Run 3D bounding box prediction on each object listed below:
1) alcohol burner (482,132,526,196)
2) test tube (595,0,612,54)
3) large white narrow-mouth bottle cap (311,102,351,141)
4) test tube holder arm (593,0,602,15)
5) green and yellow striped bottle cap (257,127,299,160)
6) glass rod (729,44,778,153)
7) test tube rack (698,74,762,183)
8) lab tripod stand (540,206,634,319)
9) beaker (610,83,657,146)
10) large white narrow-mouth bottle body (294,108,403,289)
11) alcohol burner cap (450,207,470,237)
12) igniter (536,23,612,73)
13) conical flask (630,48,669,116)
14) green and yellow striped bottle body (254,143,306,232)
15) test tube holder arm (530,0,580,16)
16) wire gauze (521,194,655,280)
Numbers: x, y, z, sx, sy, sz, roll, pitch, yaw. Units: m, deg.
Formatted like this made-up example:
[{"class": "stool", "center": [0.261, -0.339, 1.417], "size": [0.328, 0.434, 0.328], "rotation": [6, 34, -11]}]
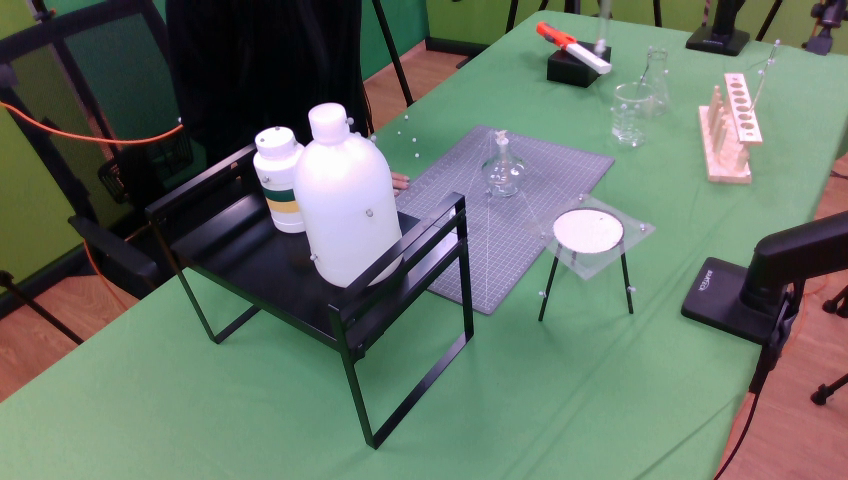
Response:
[{"class": "alcohol burner", "center": [0.137, -0.136, 1.042], "size": [0.078, 0.119, 0.077], "rotation": [-4, 43, 4]}, {"class": "test tube", "center": [0.284, -0.367, 0.939], "size": [0.017, 0.150, 0.017], "rotation": [2, 22, 0]}, {"class": "large white narrow-mouth bottle cap", "center": [-0.089, -0.113, 0.579], "size": [0.038, 0.024, 0.037], "rotation": [-3, 39, 3]}, {"class": "test tube holder arm", "center": [0.285, -0.396, 0.951], "size": [0.010, 0.088, 0.015], "rotation": [35, 47, 12]}, {"class": "green and yellow striped bottle cap", "center": [-0.169, -0.112, 0.699], "size": [0.045, 0.020, 0.045], "rotation": [-5, 40, 5]}, {"class": "glass rod", "center": [0.554, -0.233, 1.020], "size": [0.008, 0.200, 0.008], "rotation": [2, 39, -1]}, {"class": "test tube rack", "center": [0.547, -0.208, 1.095], "size": [0.066, 0.085, 0.242], "rotation": [5, 42, 15]}, {"class": "lab tripod stand", "center": [0.218, 0.034, 0.821], "size": [0.148, 0.132, 0.147], "rotation": [-4, 42, 4]}, {"class": "beaker", "center": [0.388, -0.235, 1.138], "size": [0.074, 0.101, 0.083], "rotation": [-31, 45, -25]}, {"class": "large white narrow-mouth bottle body", "center": [-0.082, -0.047, 0.634], "size": [0.102, 0.195, 0.101], "rotation": [-4, 40, 4]}, {"class": "alcohol burner cap", "center": [0.057, -0.032, 0.987], "size": [0.034, 0.048, 0.033], "rotation": [-5, 41, 5]}, {"class": "igniter", "center": [0.330, -0.439, 1.366], "size": [0.057, 0.025, 0.274], "rotation": [-12, 40, -20]}, {"class": "conical flask", "center": [0.457, -0.317, 1.205], "size": [0.075, 0.122, 0.075], "rotation": [-4, 41, 4]}, {"class": "green and yellow striped bottle body", "center": [-0.165, -0.073, 0.732], "size": [0.063, 0.120, 0.063], "rotation": [-4, 41, 4]}, {"class": "test tube holder arm", "center": [0.254, -0.390, 0.979], "size": [0.177, 0.013, 0.015], "rotation": [0, 34, 37]}, {"class": "wire gauze", "center": [0.207, -0.012, 0.772], "size": [0.122, 0.011, 0.124], "rotation": [-28, 44, -20]}]
